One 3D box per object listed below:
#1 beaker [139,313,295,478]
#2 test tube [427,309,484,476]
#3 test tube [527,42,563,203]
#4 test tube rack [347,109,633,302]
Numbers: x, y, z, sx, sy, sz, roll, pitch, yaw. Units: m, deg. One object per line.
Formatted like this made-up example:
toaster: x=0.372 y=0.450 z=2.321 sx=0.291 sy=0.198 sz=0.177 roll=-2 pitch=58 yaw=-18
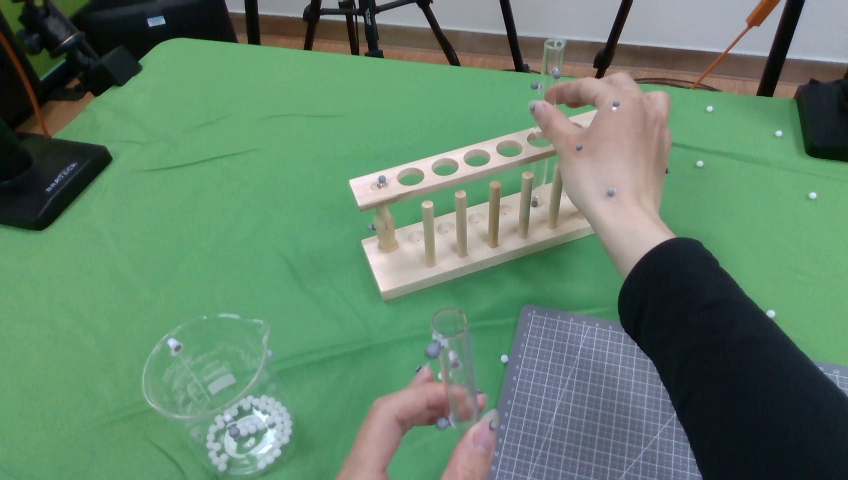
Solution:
beaker: x=-0.129 y=0.106 z=0.405 sx=0.073 sy=0.101 sz=0.084 roll=33 pitch=57 yaw=30
test tube: x=0.018 y=0.083 z=0.298 sx=0.017 sy=0.152 sz=0.017 roll=-5 pitch=48 yaw=6
test tube: x=0.099 y=-0.092 z=0.509 sx=0.017 sy=0.151 sz=0.017 roll=-1 pitch=43 yaw=1
test tube rack: x=0.064 y=-0.032 z=0.525 sx=0.243 sy=0.086 sz=0.066 roll=-17 pitch=48 yaw=-10
